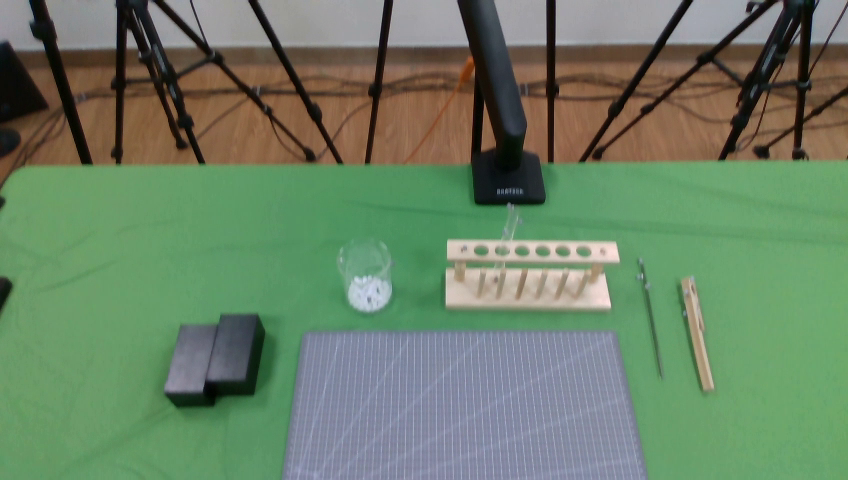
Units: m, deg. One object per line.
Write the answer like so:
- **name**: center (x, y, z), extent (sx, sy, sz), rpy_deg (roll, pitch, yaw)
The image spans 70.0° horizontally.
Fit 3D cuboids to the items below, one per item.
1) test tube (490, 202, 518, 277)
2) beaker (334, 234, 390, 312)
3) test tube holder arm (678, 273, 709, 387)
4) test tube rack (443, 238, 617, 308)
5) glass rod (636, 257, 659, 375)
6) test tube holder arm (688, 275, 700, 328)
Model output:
- **test tube**: center (0.111, 0.004, 0.854), extent (0.017, 0.151, 0.017), rpy_deg (3, 49, -3)
- **beaker**: center (-0.086, 0.054, 0.870), extent (0.074, 0.101, 0.083), rpy_deg (2, 54, 2)
- **test tube holder arm**: center (0.384, 0.125, 0.866), extent (0.013, 0.015, 0.177), rpy_deg (23, 51, -20)
- **test tube rack**: center (0.150, 0.049, 0.883), extent (0.242, 0.086, 0.066), rpy_deg (1, 53, 0)
- **glass rod**: center (0.327, 0.106, 0.889), extent (0.008, 0.008, 0.198), rpy_deg (4, 53, 2)
- **test tube holder arm**: center (0.393, 0.091, 0.894), extent (0.010, 0.015, 0.087), rpy_deg (23, 51, -19)
